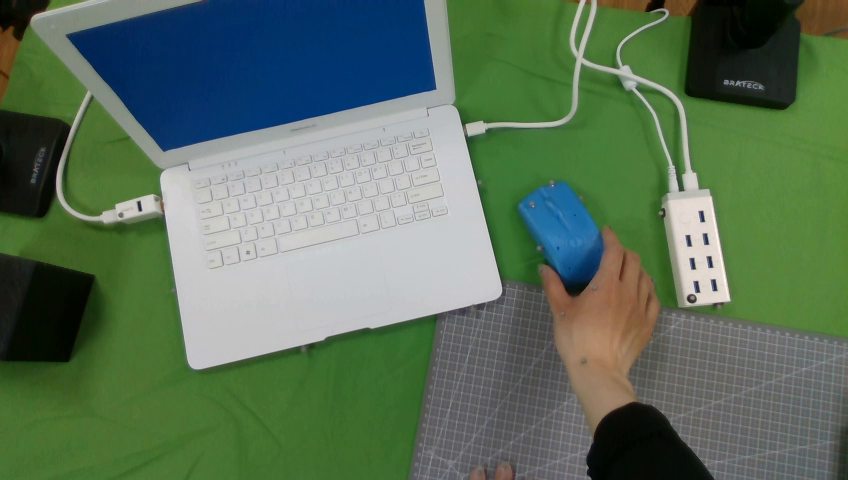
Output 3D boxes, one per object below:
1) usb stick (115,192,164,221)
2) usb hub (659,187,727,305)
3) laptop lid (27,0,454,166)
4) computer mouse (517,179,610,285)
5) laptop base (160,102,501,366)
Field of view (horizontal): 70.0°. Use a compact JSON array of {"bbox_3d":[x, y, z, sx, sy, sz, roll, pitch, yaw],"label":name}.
[{"bbox_3d":[-0.315,-0.040,0.687,0.059,0.027,0.021,-13,82,-4],"label":"usb stick"},{"bbox_3d":[0.291,0.006,0.659,0.049,0.025,0.124,-6,79,2],"label":"usb hub"},{"bbox_3d":[-0.149,-0.176,0.602,0.357,0.244,0.013,-14,63,1],"label":"laptop lid"},{"bbox_3d":[0.152,-0.011,0.662,0.063,0.041,0.116,-26,75,0],"label":"computer mouse"},{"bbox_3d":[-0.110,-0.011,0.685,0.354,0.023,0.234,-13,82,0],"label":"laptop base"}]
